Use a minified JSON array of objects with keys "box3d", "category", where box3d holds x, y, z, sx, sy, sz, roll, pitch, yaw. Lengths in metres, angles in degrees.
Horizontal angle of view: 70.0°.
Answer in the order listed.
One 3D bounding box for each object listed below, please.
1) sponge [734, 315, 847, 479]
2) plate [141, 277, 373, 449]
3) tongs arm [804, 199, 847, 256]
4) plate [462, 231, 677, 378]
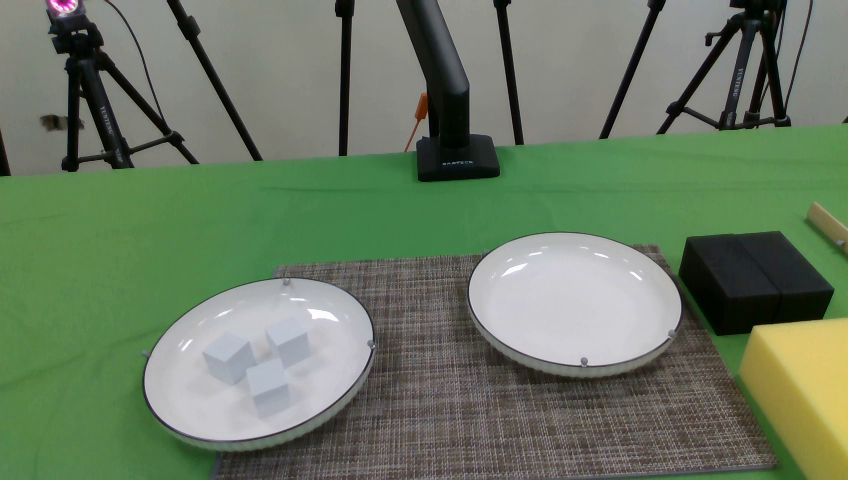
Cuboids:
[{"box3d":[0.349,0.150,0.460,0.118,0.061,0.204,-6,36,-3],"category":"sponge"},{"box3d":[-0.150,0.112,0.568,0.209,0.038,0.207,-2,35,2],"category":"plate"},{"box3d":[0.501,0.068,0.591,0.028,0.028,0.383,-5,36,-7],"category":"tongs arm"},{"box3d":[0.143,0.064,0.612,0.207,0.039,0.205,-2,35,2],"category":"plate"}]
